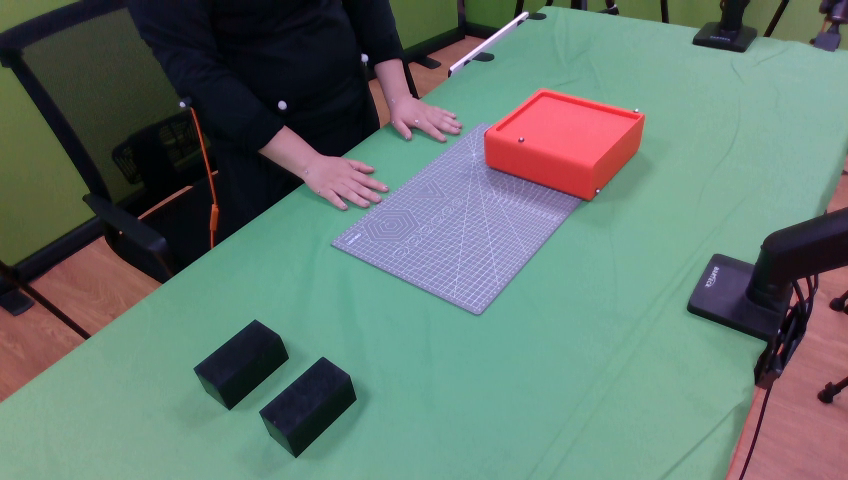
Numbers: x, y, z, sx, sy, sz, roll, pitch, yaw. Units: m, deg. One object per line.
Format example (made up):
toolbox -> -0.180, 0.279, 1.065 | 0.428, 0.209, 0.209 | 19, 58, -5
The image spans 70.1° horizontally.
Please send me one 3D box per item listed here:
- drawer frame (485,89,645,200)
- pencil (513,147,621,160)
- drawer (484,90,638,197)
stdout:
drawer frame -> 0.253, -0.180, 1.094 | 0.212, 0.083, 0.202 | 24, 48, 30
pencil -> 0.259, -0.157, 1.101 | 0.194, 0.012, 0.012 | -4, 40, 3
drawer -> 0.248, -0.180, 1.097 | 0.210, 0.073, 0.195 | 25, 49, 31
